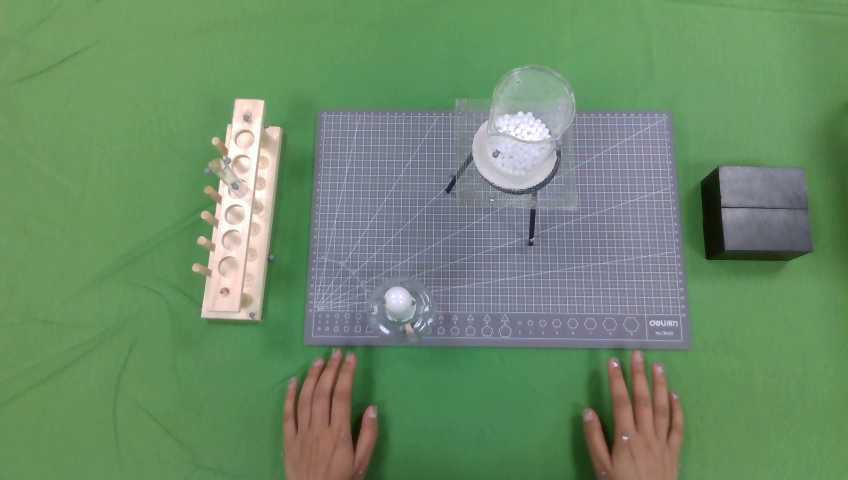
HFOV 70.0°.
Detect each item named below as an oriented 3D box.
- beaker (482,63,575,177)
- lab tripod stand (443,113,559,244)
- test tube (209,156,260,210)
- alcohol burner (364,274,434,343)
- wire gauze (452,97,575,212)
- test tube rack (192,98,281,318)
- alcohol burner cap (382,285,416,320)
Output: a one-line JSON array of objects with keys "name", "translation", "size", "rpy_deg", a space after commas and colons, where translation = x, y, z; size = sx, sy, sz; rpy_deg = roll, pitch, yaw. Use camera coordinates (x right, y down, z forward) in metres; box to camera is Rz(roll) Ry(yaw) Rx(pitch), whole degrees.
[{"name": "beaker", "translation": [0.091, -0.106, 0.573], "size": [0.084, 0.100, 0.073], "rpy_deg": [-33, 78, -7]}, {"name": "lab tripod stand", "translation": [0.096, -0.078, 0.683], "size": [0.148, 0.132, 0.147], "rpy_deg": [0, 74, 1]}, {"name": "test tube", "translation": [-0.202, -0.058, 0.658], "size": [0.017, 0.151, 0.017], "rpy_deg": [0, 77, -2]}, {"name": "alcohol burner", "translation": [-0.027, 0.072, 0.659], "size": [0.078, 0.119, 0.077], "rpy_deg": [0, 76, -1]}, {"name": "wire gauze", "translation": [0.091, -0.090, 0.619], "size": [0.125, 0.011, 0.121], "rpy_deg": [2, 77, -2]}, {"name": "test tube rack", "translation": [-0.221, -0.035, 0.703], "size": [0.067, 0.085, 0.241], "rpy_deg": [3, 77, 1]}, {"name": "alcohol burner cap", "translation": [-0.028, 0.063, 0.624], "size": [0.034, 0.048, 0.033], "rpy_deg": [-2, 72, 5]}]
